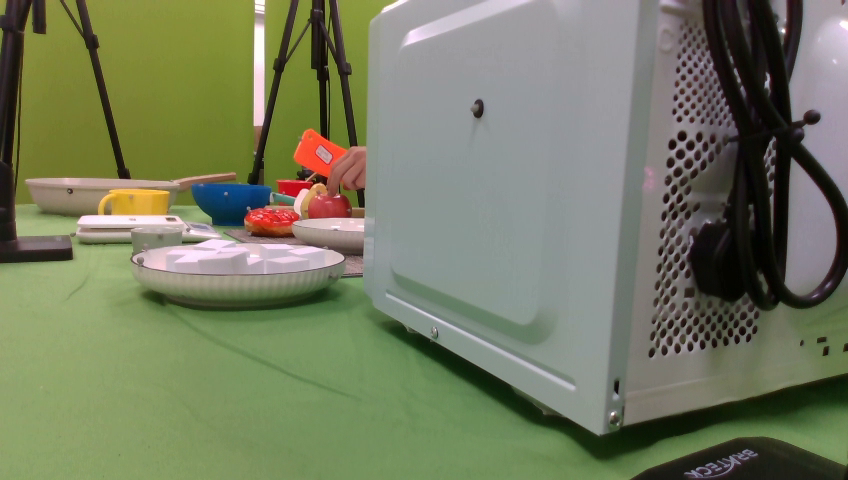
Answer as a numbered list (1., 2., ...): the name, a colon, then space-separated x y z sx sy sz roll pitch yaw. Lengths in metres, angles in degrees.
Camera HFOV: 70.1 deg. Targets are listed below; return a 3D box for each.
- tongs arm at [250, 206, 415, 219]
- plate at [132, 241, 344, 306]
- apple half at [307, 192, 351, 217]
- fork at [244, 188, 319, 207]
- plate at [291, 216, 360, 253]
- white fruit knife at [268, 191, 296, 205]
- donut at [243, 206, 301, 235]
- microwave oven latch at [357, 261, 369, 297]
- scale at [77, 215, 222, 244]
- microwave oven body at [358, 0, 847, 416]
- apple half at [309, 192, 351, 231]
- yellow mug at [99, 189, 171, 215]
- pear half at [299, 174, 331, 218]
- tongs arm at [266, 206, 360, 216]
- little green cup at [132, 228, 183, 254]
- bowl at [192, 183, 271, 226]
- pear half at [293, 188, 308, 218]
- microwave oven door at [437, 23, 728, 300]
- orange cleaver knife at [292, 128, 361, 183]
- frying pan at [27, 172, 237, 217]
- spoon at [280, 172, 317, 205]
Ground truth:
1. tongs arm: -0.211 -0.066 1.440 0.389 0.027 0.028 0 -2 -17
2. plate: -0.187 0.033 0.625 0.208 0.039 0.207 2 8 0
3. apple half: -0.174 -0.049 1.087 0.081 0.074 0.053 6 10 2
4. fork: -0.356 -0.105 1.526 0.208 0.018 0.028 16 -5 -41
5. plate: -0.103 -0.009 0.945 0.209 0.038 0.209 2 8 0
6. white fruit knife: -0.364 -0.105 1.464 0.208 0.027 0.016 15 -1 -34
7. donut: -0.261 -0.032 1.043 0.099 0.048 0.099 4 9 0
8. microwave oven latch: -0.019 0.033 0.531 0.079 0.029 0.030 -1 7 -27
9. scale: -0.434 -0.019 0.963 0.202 0.031 0.148 -1 9 -27
10. microwave oven body: 0.211 -0.047 0.474 0.444 0.260 0.324 -1 7 -28
11. apple half: -0.173 -0.055 1.125 0.081 0.081 0.033 2 10 2
12. yellow mug: -0.519 -0.055 1.080 0.099 0.064 0.131 7 9 26
13. pear half: -0.200 -0.077 1.183 0.077 0.110 0.055 -7 13 -36
14. tongs arm: -0.174 -0.061 1.362 0.387 0.026 0.050 -1 2 -31
15. little green cup: -0.342 0.006 0.779 0.061 0.038 0.061 2 8 0
16. bowl: -0.382 -0.071 1.202 0.151 0.077 0.151 3 7 0
17. pear half: -0.237 -0.062 1.236 0.071 0.087 0.031 -4 -30 -39
18. microwave oven door: 0.180 -0.072 0.621 0.358 0.243 0.039 -2 8 -29
19. orange cleaver knife: -0.153 -0.148 1.140 0.212 0.077 0.012 15 -9 -42
20. frying pan: -0.624 -0.118 1.387 0.305 0.102 0.490 8 17 32
21. spoon: -0.316 -0.159 1.640 0.194 0.022 0.041 -50 32 -20
